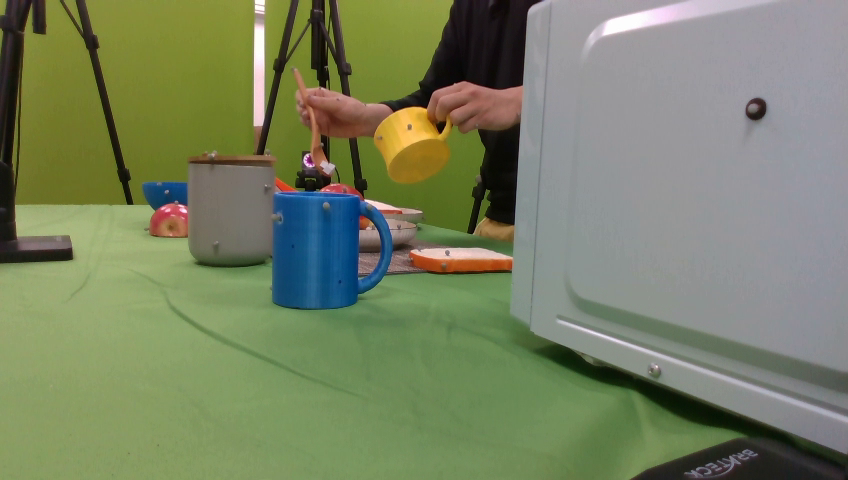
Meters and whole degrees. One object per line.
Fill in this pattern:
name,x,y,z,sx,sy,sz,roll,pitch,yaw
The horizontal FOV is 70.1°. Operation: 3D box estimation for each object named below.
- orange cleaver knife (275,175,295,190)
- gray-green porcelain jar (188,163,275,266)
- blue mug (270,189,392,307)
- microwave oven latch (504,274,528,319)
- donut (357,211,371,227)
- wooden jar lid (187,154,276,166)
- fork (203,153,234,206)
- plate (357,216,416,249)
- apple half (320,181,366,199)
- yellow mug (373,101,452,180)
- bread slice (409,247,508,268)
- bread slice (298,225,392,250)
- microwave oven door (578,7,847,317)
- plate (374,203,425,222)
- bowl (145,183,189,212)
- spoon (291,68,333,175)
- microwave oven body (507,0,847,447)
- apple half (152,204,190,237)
orange cleaver knife,-0.283,-0.087,1.343,0.212,0.077,0.012,24,-16,-41
gray-green porcelain jar,-0.246,-0.034,0.779,0.106,0.126,0.106,1,7,0
blue mug,-0.090,0.005,0.588,0.117,0.106,0.082,1,7,-11
microwave oven latch,0.100,0.041,0.471,0.079,0.029,0.030,-1,7,-27
donut,-0.132,-0.041,0.959,0.099,0.048,0.099,3,7,0
wooden jar lid,-0.244,-0.097,0.771,0.108,0.020,0.108,-1,7,0
fork,-0.480,-0.135,1.411,0.028,0.018,0.207,1,-34,-1
plate,-0.116,-0.014,0.967,0.208,0.039,0.207,2,7,0
apple half,-0.129,-0.077,0.952,0.081,0.033,0.081,3,14,0
yellow mug,-0.008,-0.155,0.899,0.130,0.064,0.100,-39,-30,27
bread slice,0.048,0.022,0.816,0.132,0.019,0.104,1,6,-24
bread slice,-0.119,-0.005,0.970,0.106,0.018,0.135,4,13,41
microwave oven door,0.294,-0.067,0.570,0.358,0.243,0.039,-3,9,-31
plate,-0.102,-0.053,1.299,0.209,0.038,0.209,2,8,0
bowl,-0.459,-0.069,1.175,0.151,0.077,0.151,2,7,0
spoon,-0.181,-0.191,0.966,0.021,0.193,0.042,-21,-13,26
microwave oven body,0.331,-0.042,0.425,0.444,0.260,0.324,-2,8,-31
apple half,-0.415,-0.034,1.017,0.081,0.053,0.074,1,10,-9
